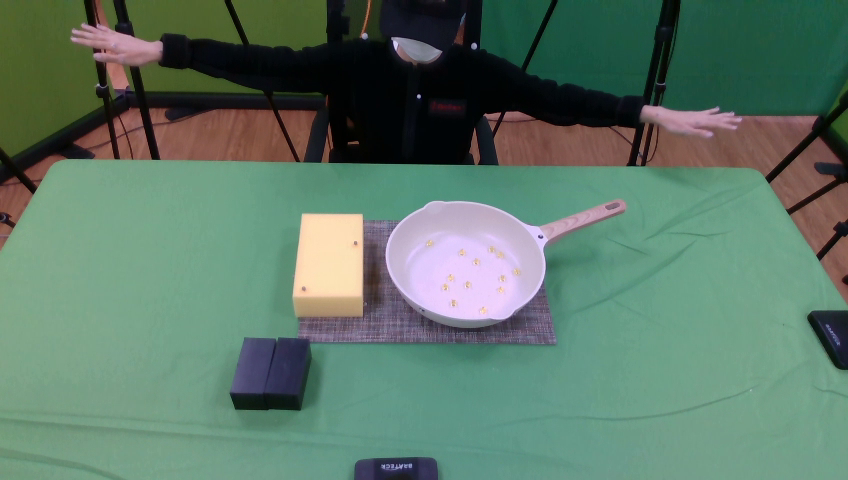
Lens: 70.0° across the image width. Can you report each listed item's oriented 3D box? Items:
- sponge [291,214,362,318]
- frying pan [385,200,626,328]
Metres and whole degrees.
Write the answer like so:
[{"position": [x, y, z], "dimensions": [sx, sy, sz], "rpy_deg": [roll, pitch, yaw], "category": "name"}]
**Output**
[{"position": [-0.173, 0.044, 1.112], "dimensions": [0.118, 0.061, 0.205], "rpy_deg": [-1, 46, -5], "category": "sponge"}, {"position": [0.169, 0.014, 1.137], "dimensions": [0.488, 0.103, 0.304], "rpy_deg": [-19, 51, -11], "category": "frying pan"}]
